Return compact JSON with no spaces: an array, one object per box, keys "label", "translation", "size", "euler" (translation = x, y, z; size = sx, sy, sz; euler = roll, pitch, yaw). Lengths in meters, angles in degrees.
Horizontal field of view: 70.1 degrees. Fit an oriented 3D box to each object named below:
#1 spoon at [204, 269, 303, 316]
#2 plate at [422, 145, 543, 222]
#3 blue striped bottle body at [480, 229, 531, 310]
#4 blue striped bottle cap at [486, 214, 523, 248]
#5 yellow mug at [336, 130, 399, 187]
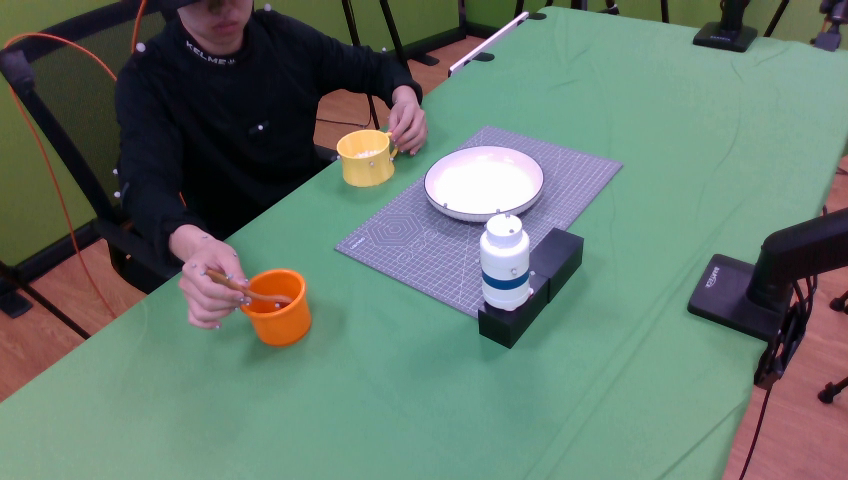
[{"label":"spoon","translation":[-0.217,0.071,0.786],"size":[0.041,0.195,0.021],"euler":[9,76,24]},{"label":"plate","translation":[0.101,-0.094,1.048],"size":[0.207,0.039,0.206],"euler":[-4,41,4]},{"label":"blue striped bottle body","translation":[0.104,0.027,0.769],"size":[0.063,0.121,0.063],"euler":[-4,40,4]},{"label":"blue striped bottle cap","translation":[0.098,-0.011,0.735],"size":[0.044,0.021,0.044],"euler":[-3,38,3]},{"label":"yellow mug","translation":[-0.098,-0.161,1.138],"size":[0.131,0.064,0.099],"euler":[-33,46,-28]}]
